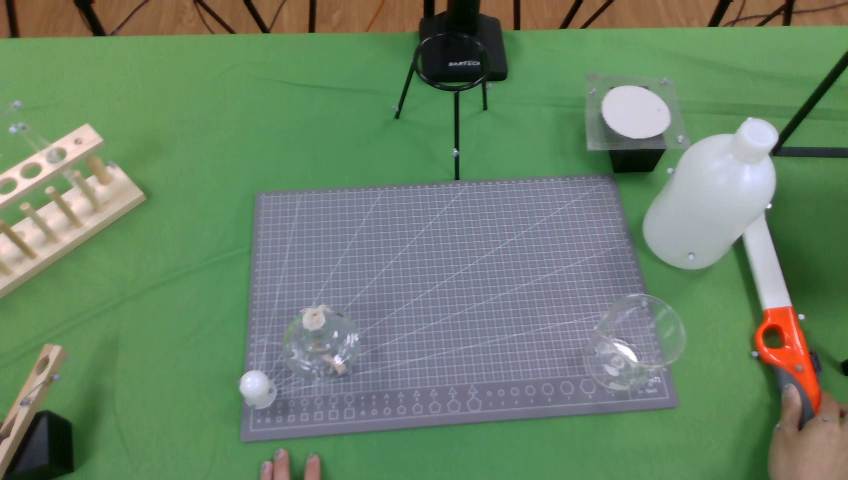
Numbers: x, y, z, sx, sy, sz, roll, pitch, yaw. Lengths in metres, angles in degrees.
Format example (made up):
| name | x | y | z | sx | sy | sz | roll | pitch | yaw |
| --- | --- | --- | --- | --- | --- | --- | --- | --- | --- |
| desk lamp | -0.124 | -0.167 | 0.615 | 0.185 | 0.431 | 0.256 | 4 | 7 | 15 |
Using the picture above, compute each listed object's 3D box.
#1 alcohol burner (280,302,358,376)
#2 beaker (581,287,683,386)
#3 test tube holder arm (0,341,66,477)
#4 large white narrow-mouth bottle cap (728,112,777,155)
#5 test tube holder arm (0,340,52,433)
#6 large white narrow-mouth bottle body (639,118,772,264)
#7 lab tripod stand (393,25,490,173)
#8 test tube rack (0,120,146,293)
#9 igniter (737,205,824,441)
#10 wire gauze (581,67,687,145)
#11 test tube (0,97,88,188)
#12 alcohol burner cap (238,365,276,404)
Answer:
| name | x | y | z | sx | sy | sz | roll | pitch | yaw |
| --- | --- | --- | --- | --- | --- | --- | --- | --- | --- |
| alcohol burner | -0.104 | 0.091 | 0.598 | 0.078 | 0.120 | 0.077 | 2 | 60 | -3 |
| beaker | 0.202 | 0.102 | 0.612 | 0.084 | 0.101 | 0.073 | 2 | 61 | 0 |
| test tube holder arm | -0.371 | 0.176 | 0.545 | 0.013 | 0.015 | 0.177 | 7 | 61 | 9 |
| large white narrow-mouth bottle cap | 0.312 | -0.102 | 0.577 | 0.038 | 0.024 | 0.037 | 1 | 61 | -1 |
| test tube holder arm | -0.368 | 0.137 | 0.567 | 0.010 | 0.015 | 0.087 | 6 | 61 | 9 |
| large white narrow-mouth bottle body | 0.309 | -0.058 | 0.652 | 0.102 | 0.196 | 0.101 | 1 | 61 | -1 |
| lab tripod stand | 0.030 | -0.178 | 0.742 | 0.148 | 0.132 | 0.147 | 2 | 62 | -3 |
| test tube rack | -0.443 | -0.022 | 0.664 | 0.066 | 0.086 | 0.242 | 42 | 68 | 18 |
| igniter | 0.390 | 0.080 | 0.673 | 0.057 | 0.025 | 0.274 | -8 | 61 | 16 |
| wire gauze | 0.260 | -0.168 | 0.760 | 0.121 | 0.011 | 0.124 | 4 | 61 | 0 |
| test tube | -0.406 | -0.099 | 0.652 | 0.017 | 0.151 | 0.017 | -1 | 63 | 2 |
| alcohol burner cap | -0.169 | 0.143 | 0.608 | 0.034 | 0.048 | 0.033 | 1 | 61 | -1 |
